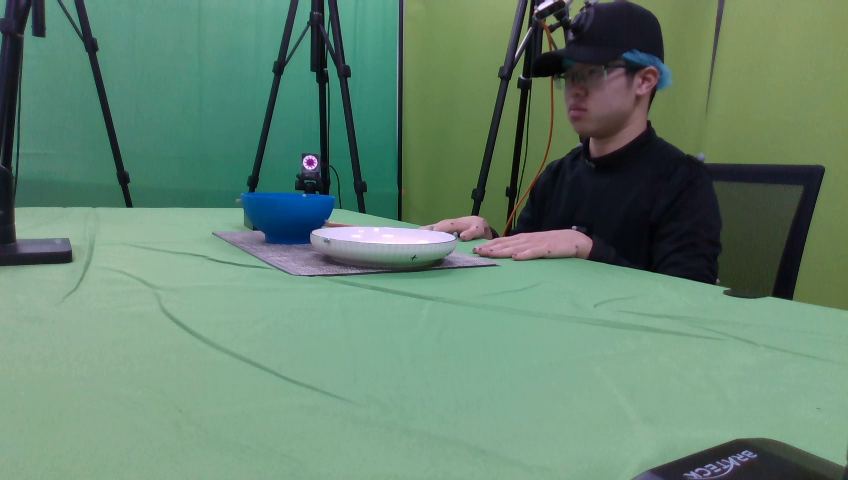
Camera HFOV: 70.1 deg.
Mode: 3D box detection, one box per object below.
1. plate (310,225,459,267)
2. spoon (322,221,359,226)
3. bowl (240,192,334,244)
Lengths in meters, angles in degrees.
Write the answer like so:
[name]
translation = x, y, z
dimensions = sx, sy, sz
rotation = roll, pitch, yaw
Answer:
[plate]
translation = -0.055, 0.008, 0.851
dimensions = 0.208, 0.039, 0.207
rotation = 2, 7, 0
[spoon]
translation = -0.197, -0.028, 1.149
dimensions = 0.195, 0.021, 0.041
rotation = -2, -9, -30
[bowl]
translation = -0.223, -0.037, 0.992
dimensions = 0.151, 0.077, 0.151
rotation = 2, 7, 0
